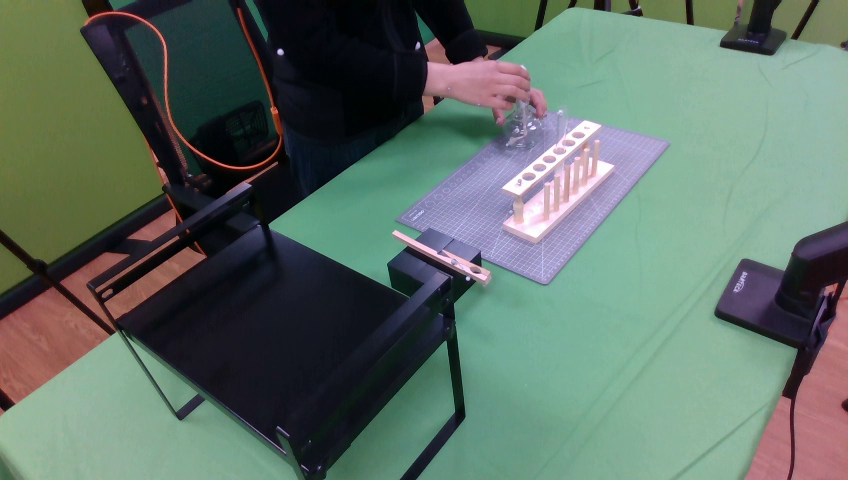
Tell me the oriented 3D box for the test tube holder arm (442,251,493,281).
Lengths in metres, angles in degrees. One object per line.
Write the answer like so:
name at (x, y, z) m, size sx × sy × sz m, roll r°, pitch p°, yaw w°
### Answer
test tube holder arm at (0.058, 0.036, 0.851) m, size 0.087 × 0.015 × 0.010 m, roll 23°, pitch 56°, yaw 32°

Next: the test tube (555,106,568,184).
test tube at (0.224, -0.151, 0.987) m, size 0.017 × 0.151 × 0.017 m, roll -4°, pitch 43°, yaw 4°

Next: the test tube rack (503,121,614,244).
test tube rack at (0.230, -0.102, 1.006) m, size 0.066 × 0.085 × 0.243 m, roll 26°, pitch 51°, yaw 34°

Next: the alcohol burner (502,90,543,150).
alcohol burner at (0.186, -0.233, 1.147) m, size 0.078 × 0.119 × 0.077 m, roll -5°, pitch 42°, yaw 5°

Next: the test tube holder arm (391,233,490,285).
test tube holder arm at (0.020, 0.025, 0.872) m, size 0.177 × 0.015 × 0.013 m, roll 22°, pitch 56°, yaw 31°

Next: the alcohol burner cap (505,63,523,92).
alcohol burner cap at (0.162, -0.290, 1.078) m, size 0.034 × 0.048 × 0.033 m, roll 2°, pitch 28°, yaw 0°
